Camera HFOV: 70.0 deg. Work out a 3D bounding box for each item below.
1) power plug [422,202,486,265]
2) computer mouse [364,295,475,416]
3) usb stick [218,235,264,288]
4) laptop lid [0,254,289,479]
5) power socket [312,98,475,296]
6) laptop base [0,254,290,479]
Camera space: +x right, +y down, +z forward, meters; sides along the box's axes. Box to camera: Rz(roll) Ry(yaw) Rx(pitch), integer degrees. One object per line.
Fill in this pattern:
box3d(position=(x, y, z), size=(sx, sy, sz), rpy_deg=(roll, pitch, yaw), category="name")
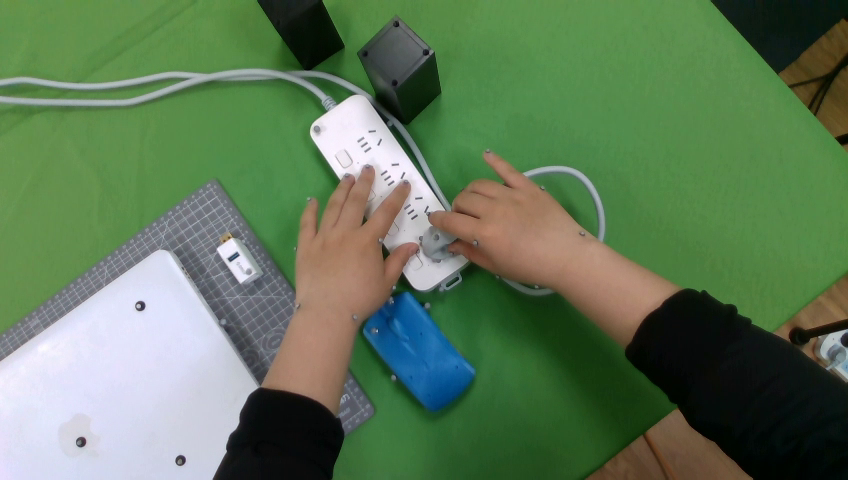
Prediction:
box3d(position=(0.033, -0.003, 0.583), size=(0.072, 0.053, 0.035), rpy_deg=(-25, 84, 2), category="power plug")
box3d(position=(-0.006, 0.112, 0.592), size=(0.063, 0.041, 0.116), rpy_deg=(-41, 77, 2), category="computer mouse")
box3d(position=(-0.191, 0.020, 0.620), size=(0.021, 0.027, 0.059), rpy_deg=(-36, 80, 2), category="usb stick")
box3d(position=(-0.338, 0.206, 0.606), size=(0.357, 0.013, 0.241), rpy_deg=(-34, 85, 0), category="laptop lid")
box3d(position=(-0.032, -0.044, 0.613), size=(0.072, 0.033, 0.226), rpy_deg=(-35, 82, 2), category="power socket")
box3d(position=(-0.338, 0.205, 0.618), size=(0.354, 0.023, 0.235), rpy_deg=(-36, 86, 0), category="laptop base")
